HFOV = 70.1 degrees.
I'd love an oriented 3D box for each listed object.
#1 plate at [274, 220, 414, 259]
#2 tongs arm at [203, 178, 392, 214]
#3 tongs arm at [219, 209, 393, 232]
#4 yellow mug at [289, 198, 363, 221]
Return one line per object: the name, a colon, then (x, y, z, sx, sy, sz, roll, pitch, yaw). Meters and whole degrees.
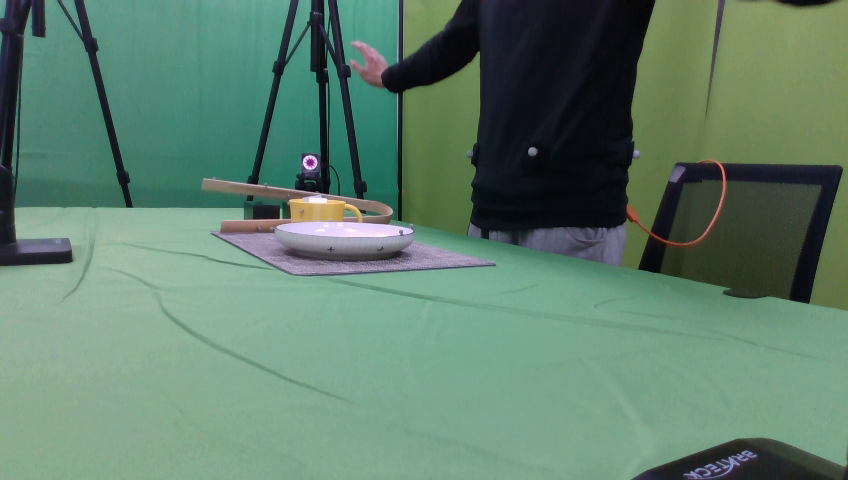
plate: (-0.118, -0.001, 0.903, 0.208, 0.039, 0.207, 3, 7, 0)
tongs arm: (-0.247, -0.083, 1.239, 0.387, 0.026, 0.050, 5, 30, -31)
tongs arm: (-0.210, -0.037, 1.182, 0.390, 0.028, 0.028, -5, 32, -41)
yellow mug: (-0.174, -0.039, 1.071, 0.131, 0.064, 0.100, 3, 6, 0)
